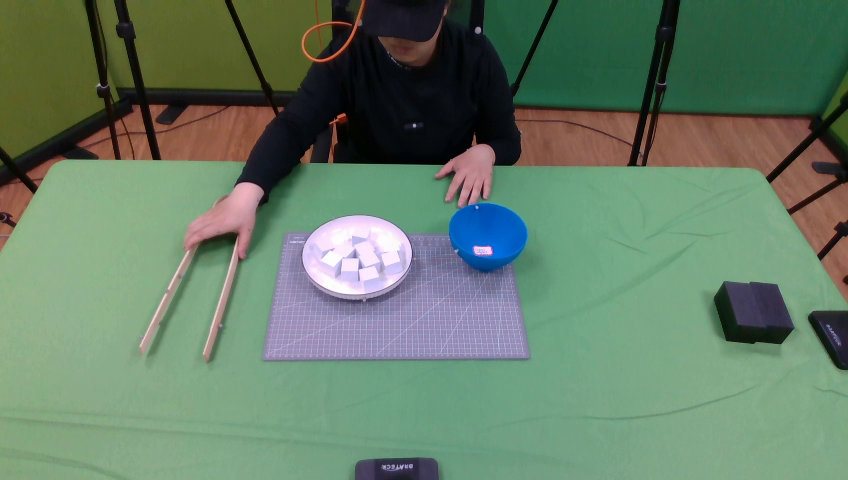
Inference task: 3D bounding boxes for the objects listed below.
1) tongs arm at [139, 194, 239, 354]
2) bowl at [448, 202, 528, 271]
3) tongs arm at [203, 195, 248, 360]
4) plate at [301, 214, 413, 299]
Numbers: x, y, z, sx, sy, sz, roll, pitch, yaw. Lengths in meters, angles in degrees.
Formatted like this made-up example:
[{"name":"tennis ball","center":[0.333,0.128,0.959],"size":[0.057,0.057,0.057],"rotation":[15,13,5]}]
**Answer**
[{"name":"tongs arm","center":[-0.420,0.047,1.112],"size":[0.051,0.026,0.382],"rotation":[6,45,0]},{"name":"bowl","center":[0.118,0.007,1.160],"size":[0.151,0.077,0.150],"rotation":[2,46,-2]},{"name":"tongs arm","center":[-0.363,0.053,1.115],"size":[0.028,0.028,0.385],"rotation":[-1,45,-2]},{"name":"plate","center":[-0.124,0.033,1.143],"size":[0.208,0.039,0.206],"rotation":[2,46,-2]}]
